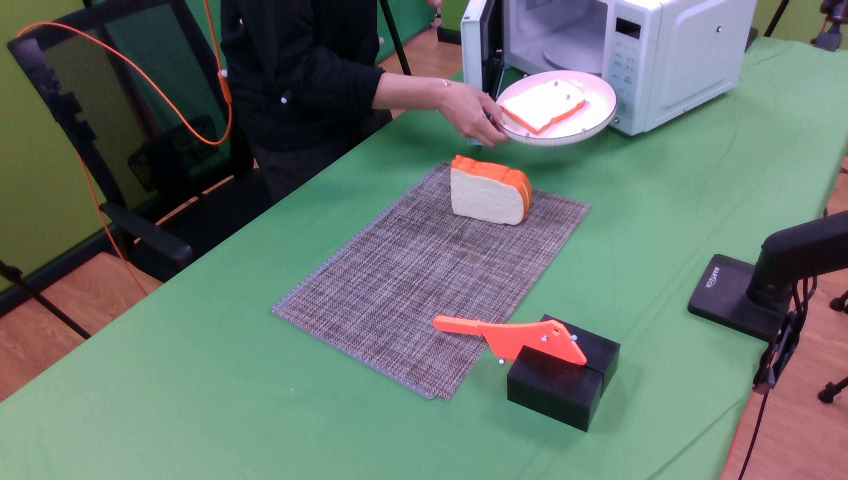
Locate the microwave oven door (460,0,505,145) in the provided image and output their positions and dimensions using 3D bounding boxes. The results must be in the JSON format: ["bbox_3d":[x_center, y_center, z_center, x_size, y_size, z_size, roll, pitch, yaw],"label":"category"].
[{"bbox_3d":[0.123,-0.387,1.209,0.039,0.245,0.355,4,42,13],"label":"microwave oven door"}]

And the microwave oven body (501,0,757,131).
[{"bbox_3d":[0.396,-0.448,1.248,0.327,0.261,0.437,-27,44,-21],"label":"microwave oven body"}]

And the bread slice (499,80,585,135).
[{"bbox_3d":[0.214,-0.238,1.066,0.135,0.018,0.106,-33,50,-19],"label":"bread slice"}]

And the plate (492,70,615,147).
[{"bbox_3d":[0.223,-0.223,1.050,0.207,0.039,0.206,-7,45,8],"label":"plate"}]

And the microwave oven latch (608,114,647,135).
[{"bbox_3d":[0.379,-0.225,1.139,0.030,0.029,0.078,-26,43,-19],"label":"microwave oven latch"}]

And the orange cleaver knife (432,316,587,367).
[{"bbox_3d":[0.101,0.127,0.761,0.210,0.077,0.012,-1,34,40],"label":"orange cleaver knife"}]
